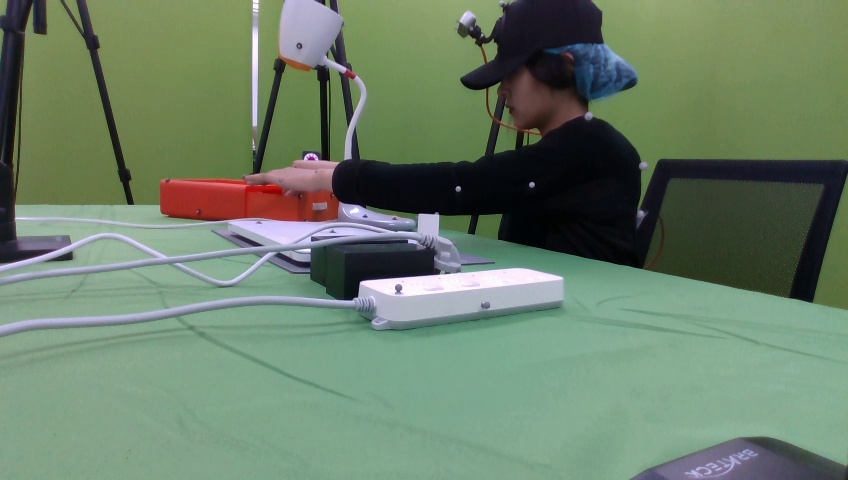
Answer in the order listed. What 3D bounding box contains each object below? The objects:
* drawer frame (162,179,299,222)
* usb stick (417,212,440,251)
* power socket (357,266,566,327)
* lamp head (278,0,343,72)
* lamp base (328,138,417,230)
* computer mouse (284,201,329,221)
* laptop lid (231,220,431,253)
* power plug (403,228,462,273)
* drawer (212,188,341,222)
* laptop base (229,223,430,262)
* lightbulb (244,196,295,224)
[{"bbox_3d":[-0.418,-0.089,1.329,0.213,0.082,0.202,4,8,18],"label":"drawer frame"},{"bbox_3d":[0.005,-0.004,0.721,0.027,0.059,0.021,0,-3,-3],"label":"usb stick"},{"bbox_3d":[0.041,0.049,0.573,0.228,0.032,0.072,-3,8,-34],"label":"power socket"},{"bbox_3d":[-0.218,-0.376,1.125,0.112,0.123,0.112,17,10,-3],"label":"lamp head"},{"bbox_3d":[-0.104,-0.113,1.213,0.180,0.180,0.160,-2,6,-14],"label":"lamp base"},{"bbox_3d":[-0.250,-0.062,1.294,0.063,0.041,0.117,-1,3,11],"label":"computer mouse"},{"bbox_3d":[-0.142,-0.009,0.942,0.243,0.013,0.355,1,7,-31],"label":"laptop lid"},{"bbox_3d":[0.006,0.016,0.647,0.073,0.052,0.035,17,12,-6],"label":"power plug"},{"bbox_3d":[-0.312,-0.077,1.297,0.211,0.073,0.195,3,8,17],"label":"drawer"},{"bbox_3d":[-0.145,0.002,0.942,0.237,0.023,0.352,2,6,-32],"label":"laptop base"},{"bbox_3d":[-0.328,-0.069,1.285,0.108,0.059,0.059,-16,14,-20],"label":"lightbulb"}]
